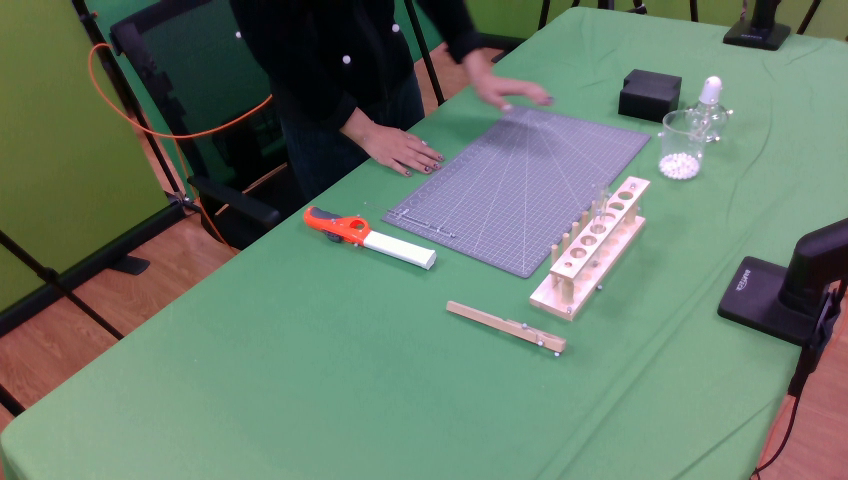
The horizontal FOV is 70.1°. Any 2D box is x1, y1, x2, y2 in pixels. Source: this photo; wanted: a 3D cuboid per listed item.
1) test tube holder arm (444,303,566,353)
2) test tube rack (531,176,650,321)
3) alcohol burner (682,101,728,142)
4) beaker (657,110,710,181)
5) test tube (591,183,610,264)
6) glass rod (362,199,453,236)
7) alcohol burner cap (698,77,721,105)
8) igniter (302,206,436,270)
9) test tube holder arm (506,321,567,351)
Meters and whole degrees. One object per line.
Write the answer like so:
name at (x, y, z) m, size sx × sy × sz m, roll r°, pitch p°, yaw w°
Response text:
test tube holder arm at (0.106, 0.117, 0.823) m, size 0.177 × 0.015 × 0.013 m, roll 16°, pitch 10°, yaw 27°
test tube rack at (0.246, 0.002, 0.884) m, size 0.066 × 0.085 × 0.243 m, roll 22°, pitch 49°, yaw 32°
alcohol burner at (0.513, -0.239, 1.097) m, size 0.078 × 0.119 × 0.077 m, roll -4°, pitch 40°, yaw 4°
beaker at (0.438, -0.156, 1.024) m, size 0.074 × 0.101 × 0.083 m, roll -14°, pitch 41°, yaw -4°
test tube at (0.242, -0.019, 0.832) m, size 0.017 × 0.151 × 0.017 m, roll -5°, pitch 46°, yaw 6°
glass rod at (-0.032, -0.041, 1.041) m, size 0.198 × 0.008 × 0.008 m, roll 22°, pitch 50°, yaw 31°
alcohol burner cap at (0.509, -0.266, 1.072) m, size 0.034 × 0.048 × 0.033 m, roll -4°, pitch 48°, yaw 5°
igniter at (-0.101, -0.007, 1.004) m, size 0.274 × 0.025 × 0.057 m, roll 19°, pitch 58°, yaw 29°
test tube holder arm at (0.148, 0.128, 0.808) m, size 0.087 × 0.015 × 0.010 m, roll 16°, pitch 10°, yaw 27°
